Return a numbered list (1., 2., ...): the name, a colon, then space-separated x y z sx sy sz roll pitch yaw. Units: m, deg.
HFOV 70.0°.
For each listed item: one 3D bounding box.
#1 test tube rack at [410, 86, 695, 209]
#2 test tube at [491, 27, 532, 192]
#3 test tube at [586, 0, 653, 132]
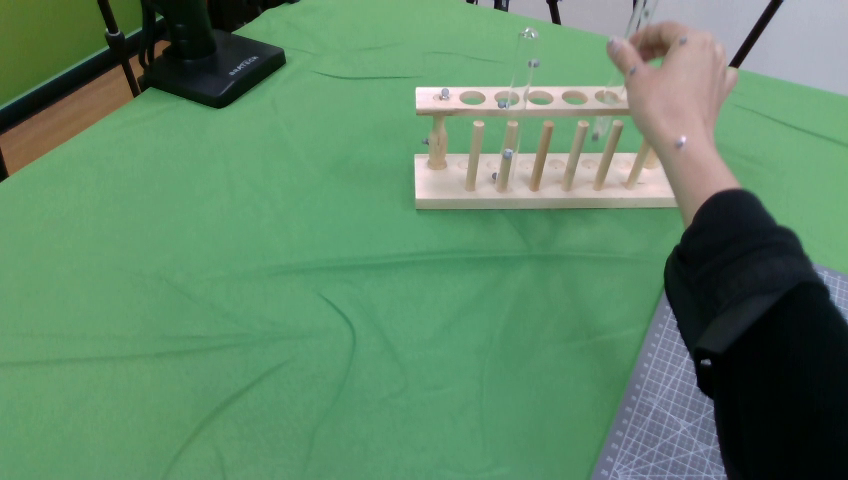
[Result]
1. test tube rack: 0.109 -0.082 0.538 0.242 0.086 0.066 -1 46 -3
2. test tube: 0.069 -0.100 0.491 0.017 0.152 0.017 1 45 -1
3. test tube: 0.159 -0.150 0.489 0.017 0.151 0.017 4 48 -4
